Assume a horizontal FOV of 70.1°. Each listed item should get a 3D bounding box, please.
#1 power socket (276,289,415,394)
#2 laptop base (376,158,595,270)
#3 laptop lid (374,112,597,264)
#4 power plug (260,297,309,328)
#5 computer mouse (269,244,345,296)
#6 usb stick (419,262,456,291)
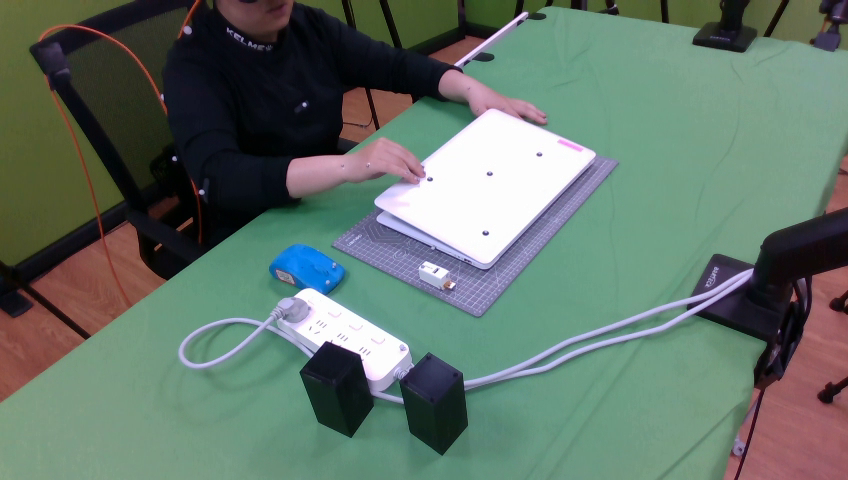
[{"bbox_3d":[-0.114,0.133,0.821,0.225,0.033,0.072,25,49,33],"label":"power socket"},{"bbox_3d":[0.115,-0.086,1.056,0.233,0.023,0.355,21,48,34],"label":"laptop base"},{"bbox_3d":[0.112,-0.109,1.038,0.240,0.013,0.358,30,52,28],"label":"laptop lid"},{"bbox_3d":[-0.192,0.107,0.831,0.073,0.053,0.035,-32,43,-24],"label":"power plug"},{"bbox_3d":[-0.182,0.043,0.933,0.116,0.041,0.063,23,47,25],"label":"computer mouse"},{"bbox_3d":[0.021,0.056,0.892,0.058,0.027,0.021,25,47,30],"label":"usb stick"}]
